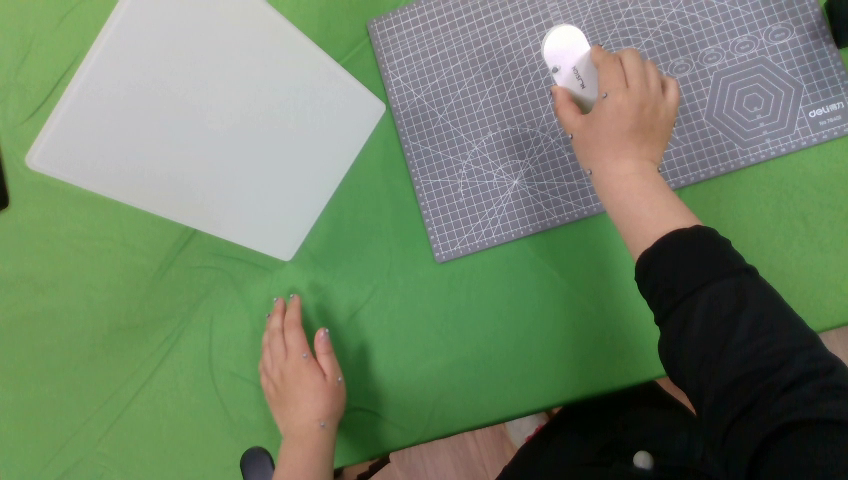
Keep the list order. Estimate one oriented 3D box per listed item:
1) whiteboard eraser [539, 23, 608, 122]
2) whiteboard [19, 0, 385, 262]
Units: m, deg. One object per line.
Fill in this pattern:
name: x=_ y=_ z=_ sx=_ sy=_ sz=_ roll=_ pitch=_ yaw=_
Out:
whiteboard eraser: x=0.143 y=-0.159 z=0.578 sx=0.041 sy=0.018 sz=0.102 roll=-29 pitch=120 yaw=12
whiteboard: x=-0.222 y=-0.137 z=0.614 sx=0.142 sy=0.308 sz=0.217 roll=35 pitch=94 yaw=33
